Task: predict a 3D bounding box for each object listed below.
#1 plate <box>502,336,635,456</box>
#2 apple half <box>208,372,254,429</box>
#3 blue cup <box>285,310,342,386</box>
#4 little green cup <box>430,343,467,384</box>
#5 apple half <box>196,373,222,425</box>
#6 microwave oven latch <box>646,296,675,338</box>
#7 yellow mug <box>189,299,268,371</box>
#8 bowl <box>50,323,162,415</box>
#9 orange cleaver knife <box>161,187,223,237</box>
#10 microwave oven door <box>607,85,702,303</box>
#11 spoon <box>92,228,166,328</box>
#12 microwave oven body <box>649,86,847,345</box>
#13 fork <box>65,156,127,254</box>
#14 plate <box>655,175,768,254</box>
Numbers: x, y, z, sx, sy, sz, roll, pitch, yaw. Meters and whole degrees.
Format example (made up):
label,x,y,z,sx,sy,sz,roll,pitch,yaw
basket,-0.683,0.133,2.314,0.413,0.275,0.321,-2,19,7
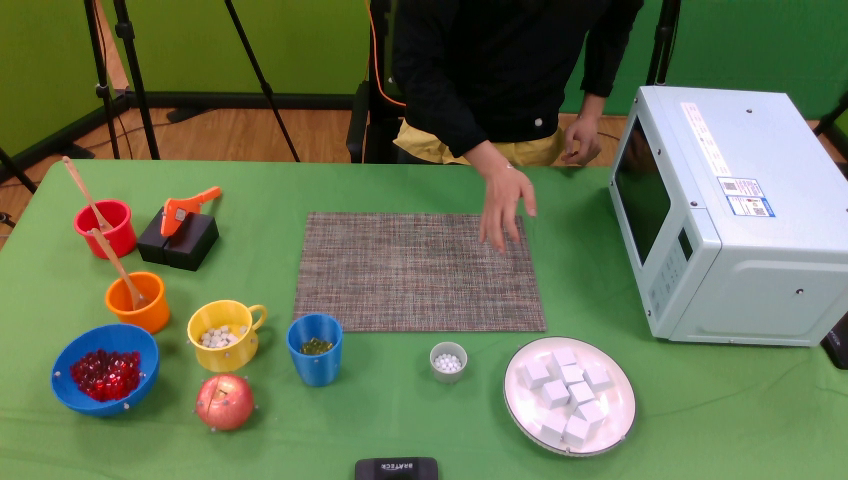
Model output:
label,x,y,z,sx,sy,sz,roll,pitch,yaw
plate,0.225,0.248,0.963,0.208,0.039,0.206,2,46,-2
apple half,-0.282,0.244,0.908,0.053,0.075,0.080,7,43,-1
blue cup,-0.169,0.179,0.958,0.093,0.101,0.092,1,44,-1
little green cup,0.039,0.203,0.994,0.061,0.039,0.061,2,46,-2
apple half,-0.322,0.239,0.907,0.033,0.081,0.081,7,46,-1
microwave oven latch,0.412,0.134,1.061,0.030,0.029,0.078,4,45,1
yellow mug,-0.316,0.148,1.002,0.131,0.064,0.099,-32,56,-31
bowl,-0.472,0.209,0.924,0.151,0.077,0.150,2,45,-2
orange cleaver knife,-0.448,-0.059,1.180,0.012,0.077,0.211,13,17,6
microwave oven door,0.423,-0.094,1.140,0.039,0.245,0.353,2,46,-1
spoon,-0.495,0.062,1.014,0.041,0.194,0.021,-34,13,-32
microwave oven body,0.568,-0.053,1.118,0.326,0.261,0.439,2,45,-1
fork,-0.614,-0.064,1.130,0.028,0.018,0.207,-29,97,-17
plate,0.555,-0.046,1.184,0.209,0.038,0.208,2,46,-2
